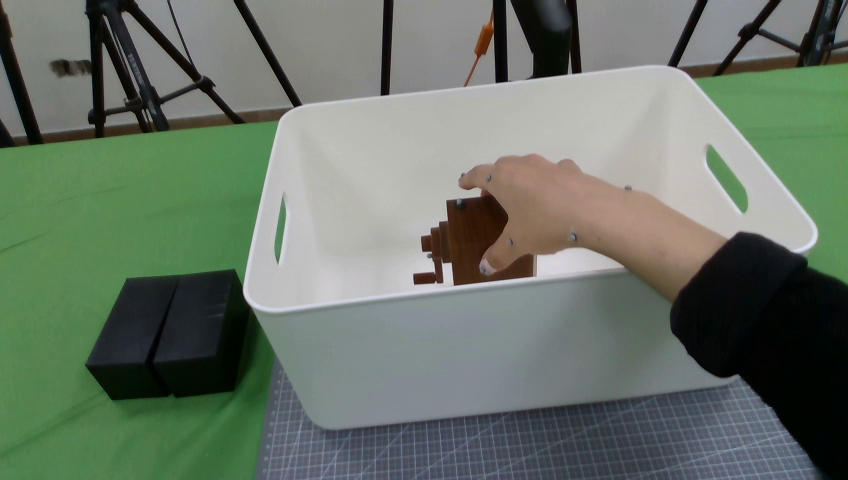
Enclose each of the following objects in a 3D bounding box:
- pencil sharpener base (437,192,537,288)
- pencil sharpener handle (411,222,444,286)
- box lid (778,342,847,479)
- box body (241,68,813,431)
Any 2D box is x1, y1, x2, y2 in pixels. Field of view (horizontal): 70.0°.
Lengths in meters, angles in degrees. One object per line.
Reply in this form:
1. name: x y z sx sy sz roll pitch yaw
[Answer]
1. pencil sharpener base: 0.053 0.020 0.520 0.077 0.108 0.060 -6 43 2
2. pencil sharpener handle: 0.001 0.015 0.513 0.030 0.068 0.035 -6 45 2
3. box lid: 0.454 0.171 0.387 0.371 0.015 0.261 -1 42 5
4. box body: 0.065 0.001 0.507 0.364 0.162 0.251 -7 42 0
